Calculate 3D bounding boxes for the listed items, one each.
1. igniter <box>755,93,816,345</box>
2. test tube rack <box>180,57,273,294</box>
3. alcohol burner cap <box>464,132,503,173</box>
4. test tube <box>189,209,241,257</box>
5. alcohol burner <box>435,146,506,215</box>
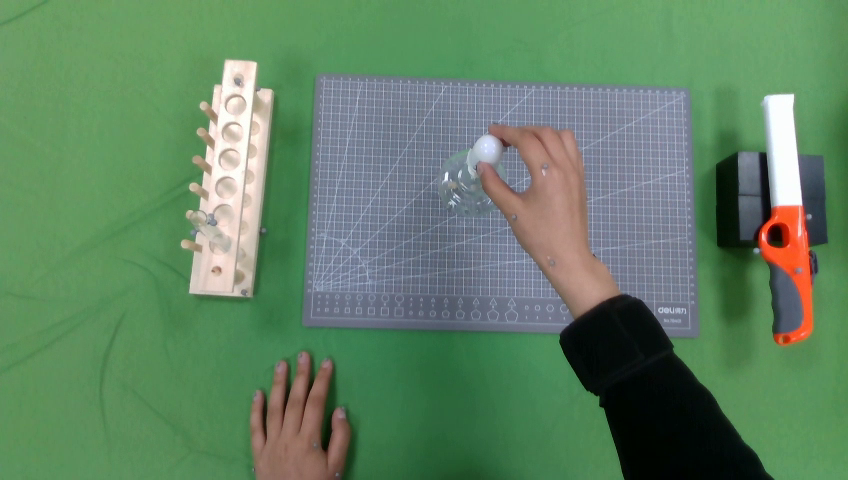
[{"bbox_3d":[0.390,-0.026,0.658,0.057,0.025,0.275,0,81,10],"label":"igniter"},{"bbox_3d":[-0.217,-0.066,0.655,0.067,0.085,0.241,4,82,-2],"label":"test tube rack"},{"bbox_3d":[0.057,-0.084,0.568,0.034,0.048,0.033,1,80,-6],"label":"alcohol burner cap"},{"bbox_3d":[-0.203,-0.004,0.597,0.017,0.150,0.017,1,77,-5],"label":"test tube"},{"bbox_3d":[0.051,-0.068,0.650,0.078,0.119,0.077,0,83,-1],"label":"alcohol burner"}]
